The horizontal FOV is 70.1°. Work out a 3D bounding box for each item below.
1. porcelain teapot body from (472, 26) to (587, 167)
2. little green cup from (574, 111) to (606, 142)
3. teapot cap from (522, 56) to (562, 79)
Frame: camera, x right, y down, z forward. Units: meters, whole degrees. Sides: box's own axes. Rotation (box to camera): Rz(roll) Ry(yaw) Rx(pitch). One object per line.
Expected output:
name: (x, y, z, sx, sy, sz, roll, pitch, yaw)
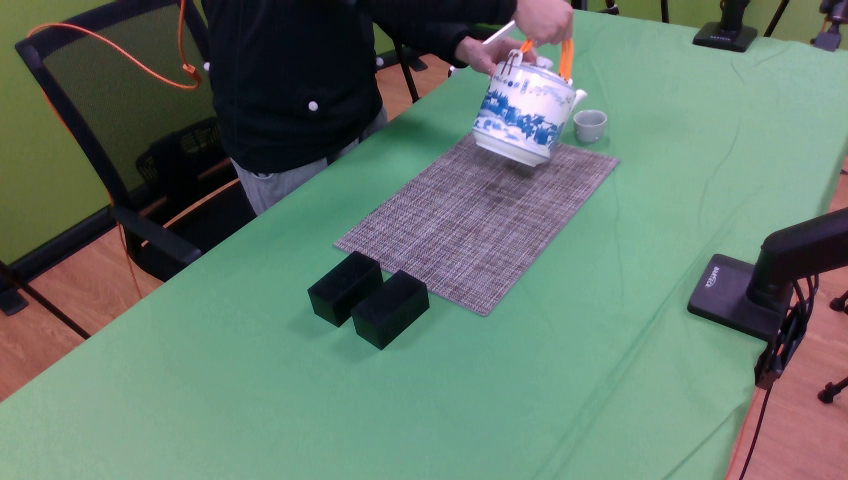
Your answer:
porcelain teapot body: (0.203, -0.244, 1.049, 0.207, 0.225, 0.144, 12, 14, -42)
little green cup: (0.318, -0.218, 1.164, 0.061, 0.039, 0.061, -3, 40, 3)
teapot cap: (0.197, -0.284, 1.019, 0.085, 0.044, 0.085, 24, 10, -4)
